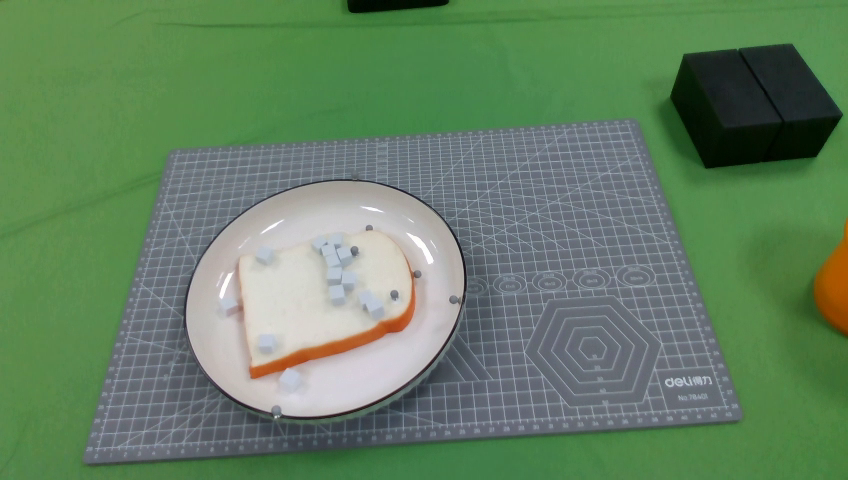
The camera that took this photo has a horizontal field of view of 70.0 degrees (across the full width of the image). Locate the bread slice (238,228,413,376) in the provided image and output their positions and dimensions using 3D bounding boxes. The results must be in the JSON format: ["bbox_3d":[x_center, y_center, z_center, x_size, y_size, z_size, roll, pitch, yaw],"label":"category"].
[{"bbox_3d":[-0.076,0.037,0.465,0.132,0.019,0.103,-16,55,-7],"label":"bread slice"}]

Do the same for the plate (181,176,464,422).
[{"bbox_3d":[-0.073,0.040,0.459,0.209,0.038,0.207,-1,54,2],"label":"plate"}]

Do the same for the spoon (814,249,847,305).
[{"bbox_3d":[0.359,-0.004,0.396,0.193,0.022,0.041,-29,42,33],"label":"spoon"}]
